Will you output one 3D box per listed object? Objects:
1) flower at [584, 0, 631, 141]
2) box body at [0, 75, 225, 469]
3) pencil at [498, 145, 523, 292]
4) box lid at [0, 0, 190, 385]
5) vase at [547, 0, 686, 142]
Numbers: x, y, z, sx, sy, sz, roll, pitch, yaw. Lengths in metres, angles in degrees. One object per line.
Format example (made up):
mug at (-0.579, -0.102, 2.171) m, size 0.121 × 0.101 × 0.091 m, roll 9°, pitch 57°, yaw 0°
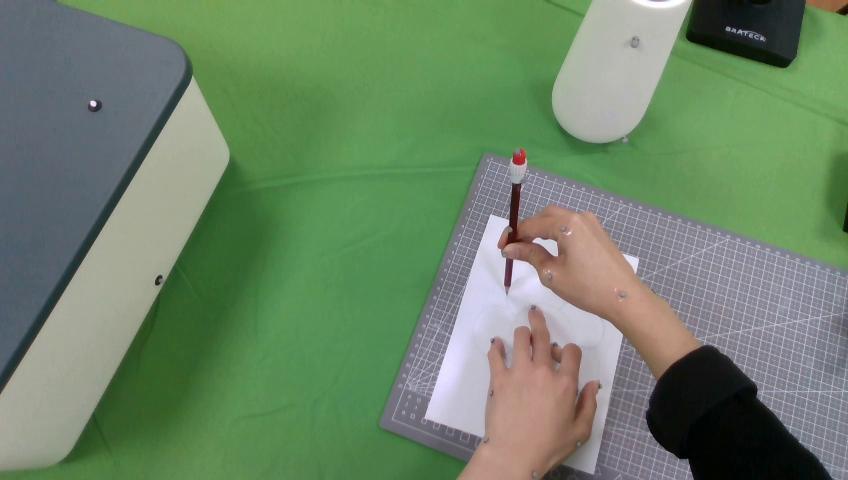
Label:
flower at (0.176, -0.220, 0.498) m, size 0.044 × 0.365 × 0.038 m, roll 13°, pitch 52°, yaw 8°
box body at (-0.370, -0.012, 0.526) m, size 0.254 × 0.161 × 0.362 m, roll 19°, pitch 71°, yaw 7°
pencil at (0.070, -0.007, 0.510) m, size 0.012 × 0.196 × 0.012 m, roll -1°, pitch 54°, yaw 2°
box lid at (-0.369, -0.041, 0.456) m, size 0.263 × 0.015 × 0.369 m, roll 20°, pitch 71°, yaw 6°
vase at (0.178, -0.177, 0.571) m, size 0.098 × 0.201 × 0.097 m, roll 0°, pitch 68°, yaw 1°
